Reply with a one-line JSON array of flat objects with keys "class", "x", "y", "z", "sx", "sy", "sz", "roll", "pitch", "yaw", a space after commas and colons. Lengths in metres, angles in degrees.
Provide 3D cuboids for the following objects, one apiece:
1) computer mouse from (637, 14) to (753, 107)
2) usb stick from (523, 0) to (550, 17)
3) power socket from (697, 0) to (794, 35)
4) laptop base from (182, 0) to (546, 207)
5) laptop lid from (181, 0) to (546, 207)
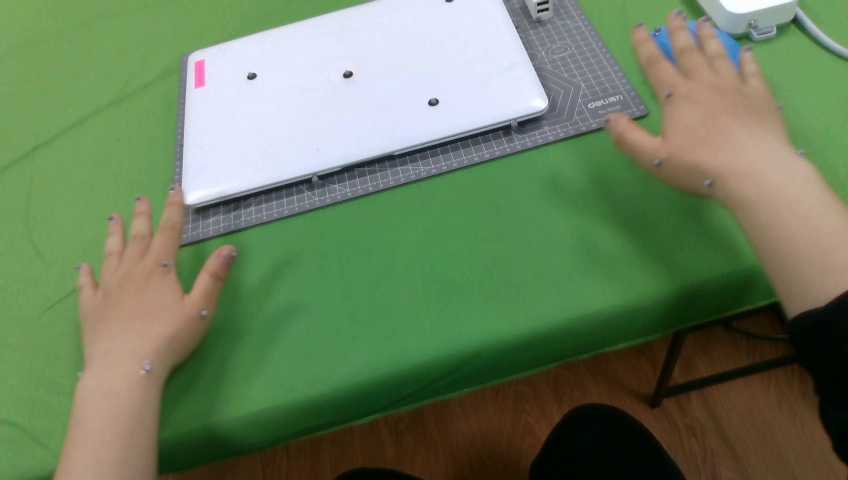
[{"class": "computer mouse", "x": 0.244, "y": -0.171, "z": 0.552, "sx": 0.063, "sy": 0.041, "sz": 0.116, "roll": -16, "pitch": 49, "yaw": 4}, {"class": "usb stick", "x": 0.117, "y": -0.269, "z": 0.652, "sx": 0.021, "sy": 0.027, "sz": 0.058, "roll": -15, "pitch": 51, "yaw": 5}, {"class": "power socket", "x": 0.301, "y": -0.294, "z": 0.628, "sx": 0.072, "sy": 0.033, "sz": 0.224, "roll": -14, "pitch": 53, "yaw": 4}, {"class": "laptop base", "x": -0.077, "y": -0.163, "z": 0.628, "sx": 0.354, "sy": 0.023, "sz": 0.233, "roll": -15, "pitch": 57, "yaw": 1}, {"class": "laptop lid", "x": -0.078, "y": -0.168, "z": 0.617, "sx": 0.357, "sy": 0.013, "sz": 0.239, "roll": -14, "pitch": 56, "yaw": 2}]
